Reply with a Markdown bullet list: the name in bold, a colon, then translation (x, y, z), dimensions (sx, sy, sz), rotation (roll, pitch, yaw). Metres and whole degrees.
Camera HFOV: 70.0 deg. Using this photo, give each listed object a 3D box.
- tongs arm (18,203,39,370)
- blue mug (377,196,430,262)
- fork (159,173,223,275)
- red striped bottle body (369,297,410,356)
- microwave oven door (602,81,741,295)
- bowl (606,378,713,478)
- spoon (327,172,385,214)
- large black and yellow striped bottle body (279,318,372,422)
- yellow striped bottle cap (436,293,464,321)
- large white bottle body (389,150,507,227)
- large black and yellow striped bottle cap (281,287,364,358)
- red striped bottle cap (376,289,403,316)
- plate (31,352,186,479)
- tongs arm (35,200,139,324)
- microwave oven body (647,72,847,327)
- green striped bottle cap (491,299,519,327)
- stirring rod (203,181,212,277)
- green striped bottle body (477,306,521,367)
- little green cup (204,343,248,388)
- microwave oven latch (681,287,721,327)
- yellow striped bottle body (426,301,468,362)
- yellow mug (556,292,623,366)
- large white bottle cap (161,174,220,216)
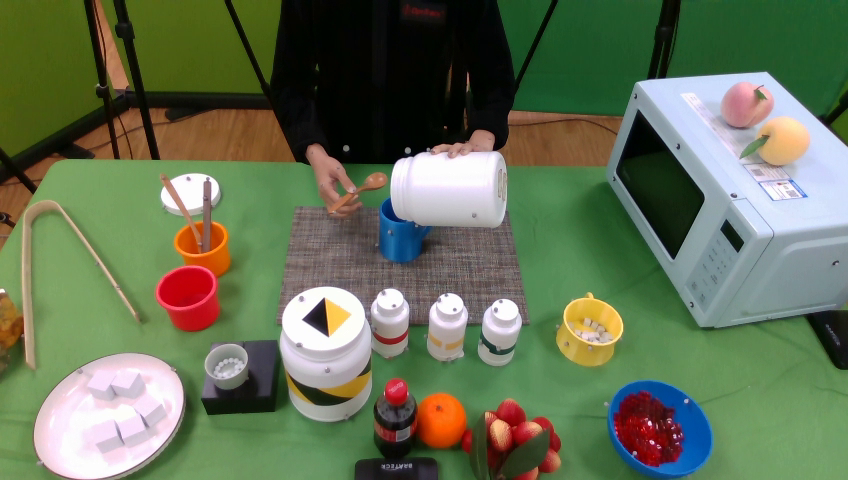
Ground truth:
- **tongs arm**: translation (-0.698, 0.069, 1.069), dimensions (0.028, 0.028, 0.385), rotation (-20, 50, -13)
- **blue mug**: translation (-0.033, -0.028, 1.159), dimensions (0.116, 0.106, 0.082), rotation (-22, 52, -23)
- **fork**: translation (-0.427, -0.029, 1.103), dimensions (0.028, 0.018, 0.207), rotation (-31, 99, -29)
- **red striped bottle body**: translation (-0.058, 0.135, 0.997), dimensions (0.063, 0.120, 0.062), rotation (6, 49, -6)
- **microwave oven door**: translation (0.456, -0.107, 1.162), dimensions (0.039, 0.245, 0.353), rotation (-6, 47, -11)
- **bowl**: translation (0.340, 0.292, 0.906), dimensions (0.151, 0.077, 0.150), rotation (2, 46, -2)
- **spoon**: translation (-0.126, -0.089, 1.114), dimensions (0.041, 0.022, 0.193), rotation (22, 29, 16)
- **large black and yellow striped bottle body**: translation (-0.145, 0.173, 0.908), dimensions (0.131, 0.185, 0.130), rotation (2, 46, -2)
- **yellow striped bottle cap**: translation (0.041, 0.106, 0.959), dimensions (0.044, 0.019, 0.044), rotation (-1, 50, 1)
- **large white bottle body**: translation (0.043, -0.089, 1.055), dimensions (0.184, 0.131, 0.130), rotation (2, 44, 18)
- **large black and yellow striped bottle cap**: translation (-0.141, 0.112, 0.847), dimensions (0.115, 0.019, 0.114), rotation (5, 45, -4)
- **red striped bottle cap**: translation (-0.054, 0.098, 0.958), dimensions (0.044, 0.018, 0.044), rotation (0, 48, 1)
- **plate**: translation (-0.459, 0.262, 0.898), dimensions (0.209, 0.038, 0.208), rotation (2, 46, -2)
- **tongs arm**: translation (-0.622, 0.034, 1.105), dimensions (0.051, 0.026, 0.382), rotation (-32, 55, -25)
- **microwave oven body**: translation (0.607, -0.089, 1.164), dimensions (0.326, 0.261, 0.438), rotation (-7, 46, -10)
- **green striped bottle cap**: translation (0.128, 0.115, 0.958), dimensions (0.044, 0.020, 0.044), rotation (1, 47, -1)
- **stirring rod**: translation (-0.396, -0.021, 1.107), dimensions (0.014, 0.006, 0.176), rotation (-1, 89, -1)
- **green striped bottle body**: translation (0.124, 0.151, 0.995), dimensions (0.063, 0.120, 0.063), rotation (2, 46, -2)
- **little green cup**: translation (-0.294, 0.190, 0.909), dimensions (0.061, 0.039, 0.061), rotation (1, 48, -1)
- **microwave oven latch**: translation (0.494, 0.119, 1.087), dimensions (0.030, 0.029, 0.078), rotation (-6, 46, -9)
- **yellow striped bottle body**: translation (0.037, 0.142, 0.996), dimensions (0.063, 0.121, 0.062), rotation (2, 46, -2)
- **yellow mug**: translation (0.285, 0.145, 1.051), dimensions (0.100, 0.064, 0.130), rotation (7, 45, 3)
- **large white bottle cap**: translation (-0.483, -0.095, 1.253), dimensions (0.115, 0.018, 0.114), rotation (2, 46, -2)
